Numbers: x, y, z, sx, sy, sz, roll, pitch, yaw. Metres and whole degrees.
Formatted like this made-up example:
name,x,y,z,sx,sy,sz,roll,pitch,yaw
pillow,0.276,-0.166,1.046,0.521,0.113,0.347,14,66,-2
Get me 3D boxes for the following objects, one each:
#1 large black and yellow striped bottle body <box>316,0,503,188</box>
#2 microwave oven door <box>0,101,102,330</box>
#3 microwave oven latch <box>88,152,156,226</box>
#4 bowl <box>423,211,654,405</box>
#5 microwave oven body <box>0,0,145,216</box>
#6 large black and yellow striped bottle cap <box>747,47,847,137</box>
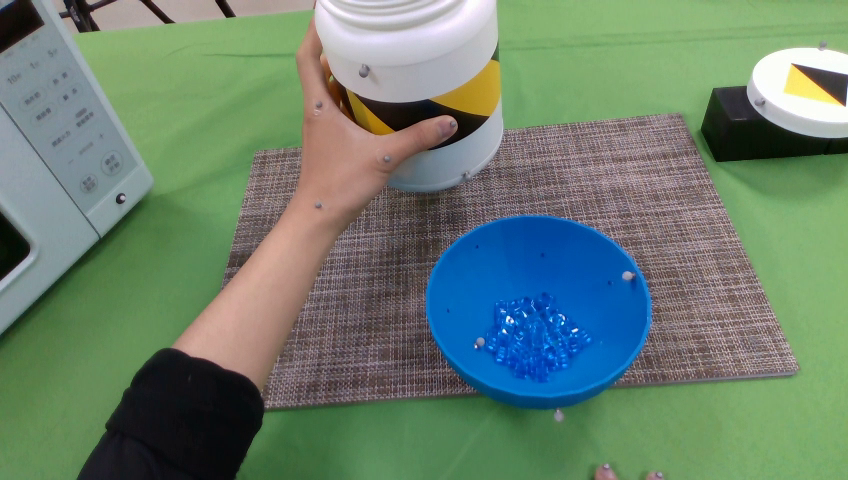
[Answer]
name,x,y,z,sx,sy,sz,roll,pitch,yaw
large black and yellow striped bottle body,-0.007,-0.144,0.471,0.130,0.186,0.129,-4,55,7
microwave oven door,-0.402,0.036,0.382,0.039,0.246,0.354,18,54,21
microwave oven latch,-0.294,-0.052,0.580,0.030,0.030,0.079,20,55,21
bowl,0.078,0.059,0.435,0.151,0.077,0.150,-3,49,4
microwave oven body,-0.513,-0.031,0.459,0.324,0.263,0.439,18,55,20
large black and yellow striped bottle cap,0.358,-0.137,0.550,0.115,0.019,0.114,-4,49,5
